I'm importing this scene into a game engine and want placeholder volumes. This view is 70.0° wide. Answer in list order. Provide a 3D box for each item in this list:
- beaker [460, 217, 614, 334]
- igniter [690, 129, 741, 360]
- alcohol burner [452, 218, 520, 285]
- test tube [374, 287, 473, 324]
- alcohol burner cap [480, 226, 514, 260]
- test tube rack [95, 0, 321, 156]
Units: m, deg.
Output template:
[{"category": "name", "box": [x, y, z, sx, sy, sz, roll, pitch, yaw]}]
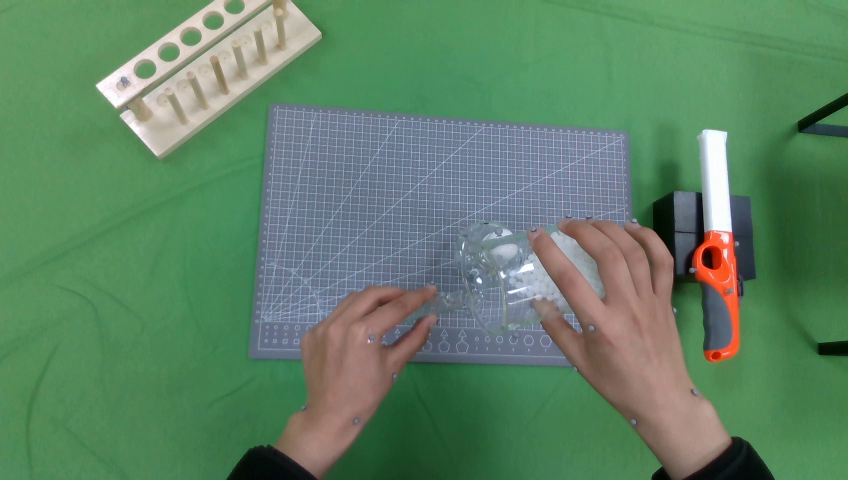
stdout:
[{"category": "beaker", "box": [0.087, 0.025, 0.471, 0.100, 0.084, 0.073, -13, 78, -17]}, {"category": "igniter", "box": [0.337, 0.001, 0.704, 0.057, 0.025, 0.275, 6, 75, -5]}, {"category": "alcohol burner", "box": [0.073, 0.009, 0.664, 0.078, 0.119, 0.077, 2, 76, -9]}, {"category": "test tube", "box": [-0.006, 0.061, 0.552, 0.017, 0.150, 0.017, 10, 72, -32]}, {"category": "alcohol burner cap", "box": [0.078, 0.002, 0.629, 0.034, 0.048, 0.033, 1, 80, -3]}, {"category": "test tube rack", "box": [-0.230, -0.206, 0.679, 0.242, 0.085, 0.066, -42, 86, -14]}]
